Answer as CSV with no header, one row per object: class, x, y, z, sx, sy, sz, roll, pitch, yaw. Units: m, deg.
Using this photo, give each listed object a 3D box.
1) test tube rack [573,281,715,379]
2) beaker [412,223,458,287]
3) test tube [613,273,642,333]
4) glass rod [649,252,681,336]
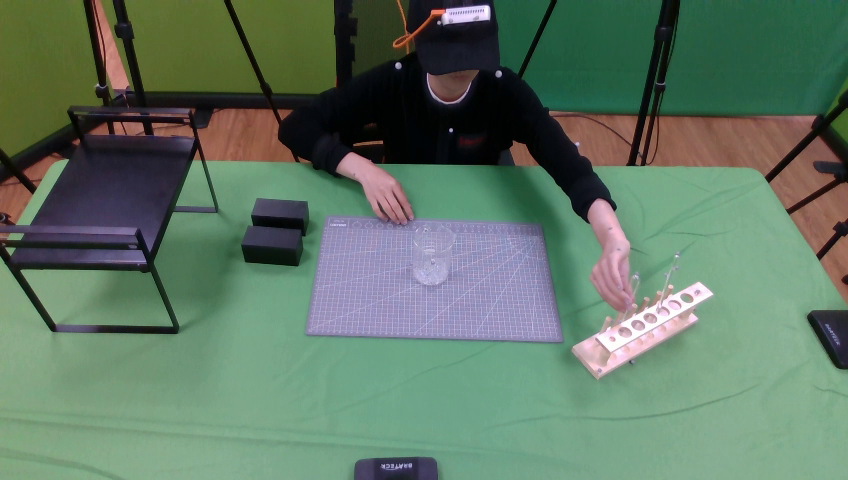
test tube rack,0.378,0.140,1.038,0.242,0.085,0.066,-22,51,-23
beaker,0.018,0.030,1.109,0.084,0.101,0.073,-10,48,-14
test tube,0.331,0.106,0.992,0.017,0.151,0.017,0,46,0
glass rod,0.393,0.093,0.992,0.008,0.201,0.008,-1,43,1
